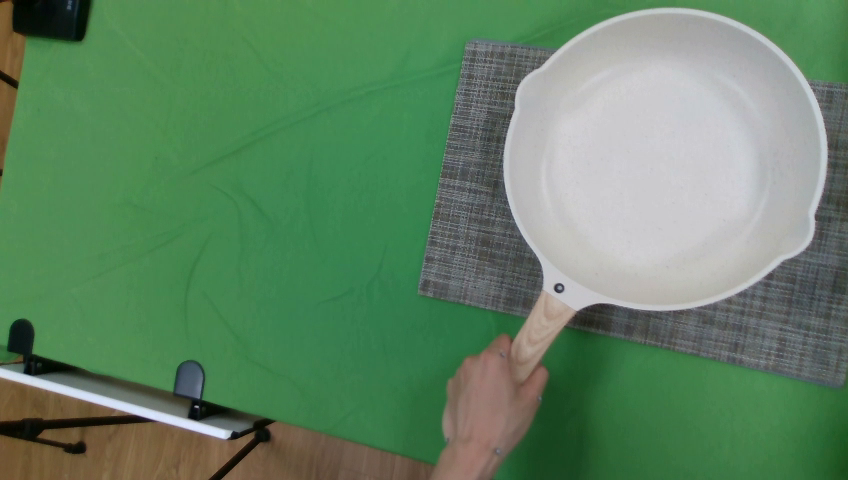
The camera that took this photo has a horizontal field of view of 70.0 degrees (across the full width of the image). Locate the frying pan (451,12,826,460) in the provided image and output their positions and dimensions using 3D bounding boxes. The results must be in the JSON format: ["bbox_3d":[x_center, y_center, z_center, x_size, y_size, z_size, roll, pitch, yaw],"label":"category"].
[{"bbox_3d":[0.169,0.010,0.607,0.305,0.103,0.487,35,88,17],"label":"frying pan"}]
